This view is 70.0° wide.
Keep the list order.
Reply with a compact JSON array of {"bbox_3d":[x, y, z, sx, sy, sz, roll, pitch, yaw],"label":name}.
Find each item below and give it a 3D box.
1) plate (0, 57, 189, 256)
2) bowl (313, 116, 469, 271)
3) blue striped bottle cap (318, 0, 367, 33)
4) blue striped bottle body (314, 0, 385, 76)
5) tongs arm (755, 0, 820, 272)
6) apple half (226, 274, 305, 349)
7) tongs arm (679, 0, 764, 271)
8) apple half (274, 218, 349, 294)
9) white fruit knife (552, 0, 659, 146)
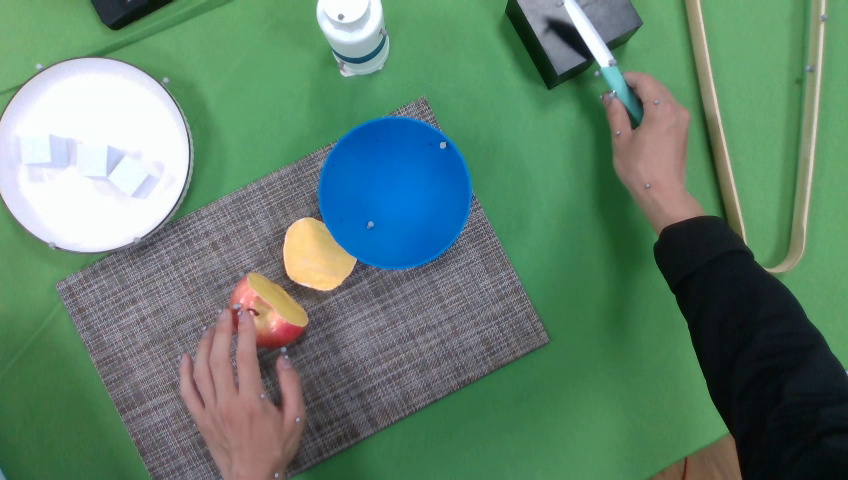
[{"bbox_3d":[-0.351,-0.086,0.644,0.208,0.039,0.207,0,89,-1],"label":"plate"},{"bbox_3d":[-0.031,-0.044,0.620,0.151,0.077,0.151,0,89,0],"label":"bowl"},{"bbox_3d":[-0.075,-0.215,0.555,0.044,0.020,0.044,0,87,-2],"label":"blue striped bottle cap"},{"bbox_3d":[-0.073,-0.212,0.606,0.063,0.121,0.063,0,88,0],"label":"blue striped bottle body"},{"bbox_3d":[0.392,-0.157,0.651,0.051,0.026,0.384,2,90,1],"label":"tongs arm"},{"bbox_3d":[-0.167,0.079,0.619,0.081,0.074,0.053,43,96,-1],"label":"apple half"},{"bbox_3d":[0.311,-0.153,0.654,0.028,0.028,0.387,-11,89,-3],"label":"tongs arm"},{"bbox_3d":[-0.120,0.016,0.638,0.081,0.032,0.081,-1,98,-8],"label":"apple half"},{"bbox_3d":[0.183,-0.172,0.620,0.209,0.016,0.027,47,59,-21],"label":"white fruit knife"}]
